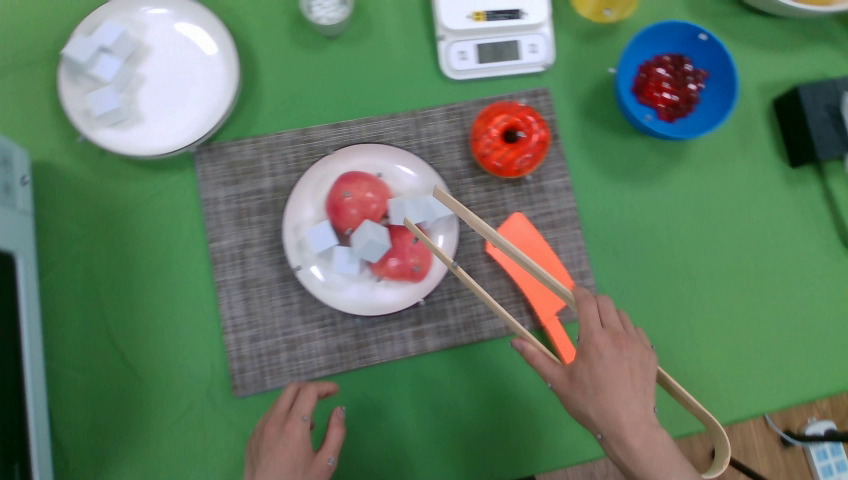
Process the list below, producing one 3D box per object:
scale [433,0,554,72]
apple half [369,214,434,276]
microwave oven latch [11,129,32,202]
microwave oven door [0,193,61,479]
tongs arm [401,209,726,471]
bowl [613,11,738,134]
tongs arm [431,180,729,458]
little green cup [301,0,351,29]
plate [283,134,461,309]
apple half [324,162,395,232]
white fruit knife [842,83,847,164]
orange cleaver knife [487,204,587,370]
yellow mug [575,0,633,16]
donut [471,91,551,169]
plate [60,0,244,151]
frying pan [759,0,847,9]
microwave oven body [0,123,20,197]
[{"bbox_3d":[0.085,-0.320,0.780,0.149,0.031,0.200,-7,83,-5],"label":"scale"},{"bbox_3d":[-0.026,0.004,0.713,0.081,0.033,0.081,0,85,-2],"label":"apple half"},{"bbox_3d":[-0.462,-0.082,0.680,0.030,0.029,0.079,-7,84,-6],"label":"microwave oven latch"},{"bbox_3d":[-0.422,0.118,0.553,0.039,0.244,0.354,-9,83,-6],"label":"microwave oven door"},{"bbox_3d":[0.129,0.090,0.599,0.050,0.026,0.383,-42,79,-19],"label":"tongs arm"},{"bbox_3d":[0.300,-0.196,0.758,0.151,0.077,0.151,1,83,-5],"label":"bowl"},{"bbox_3d":[0.148,0.070,0.608,0.386,0.028,0.028,42,67,9],"label":"tongs arm"},{"bbox_3d":[-0.121,-0.297,0.756,0.061,0.039,0.061,1,82,-4],"label":"little green cup"},{"bbox_3d":[-0.060,-0.022,0.720,0.209,0.038,0.208,1,82,-5],"label":"plate"},{"bbox_3d":[-0.076,-0.055,0.708,0.074,0.053,0.080,33,80,3],"label":"apple half"},{"bbox_3d":[0.544,-0.093,0.764,0.016,0.027,0.208,-13,98,-6],"label":"white fruit knife"},{"bbox_3d":[0.152,0.055,0.737,0.077,0.012,0.211,-29,84,-13],"label":"orange cleaver knife"},{"bbox_3d":[0.229,-0.362,0.780,0.100,0.064,0.130,-44,87,-8],"label":"yellow mug"},{"bbox_3d":[0.106,-0.135,0.746,0.099,0.048,0.098,0,83,-2],"label":"donut"},{"bbox_3d":[-0.320,-0.204,0.727,0.208,0.039,0.207,1,82,-5],"label":"plate"},{"bbox_3d":[0.561,-0.361,0.789,0.307,0.103,0.485,-38,79,-7],"label":"frying pan"},{"bbox_3d":[-0.573,0.098,0.549,0.326,0.260,0.440,-8,84,-6],"label":"microwave oven body"}]
